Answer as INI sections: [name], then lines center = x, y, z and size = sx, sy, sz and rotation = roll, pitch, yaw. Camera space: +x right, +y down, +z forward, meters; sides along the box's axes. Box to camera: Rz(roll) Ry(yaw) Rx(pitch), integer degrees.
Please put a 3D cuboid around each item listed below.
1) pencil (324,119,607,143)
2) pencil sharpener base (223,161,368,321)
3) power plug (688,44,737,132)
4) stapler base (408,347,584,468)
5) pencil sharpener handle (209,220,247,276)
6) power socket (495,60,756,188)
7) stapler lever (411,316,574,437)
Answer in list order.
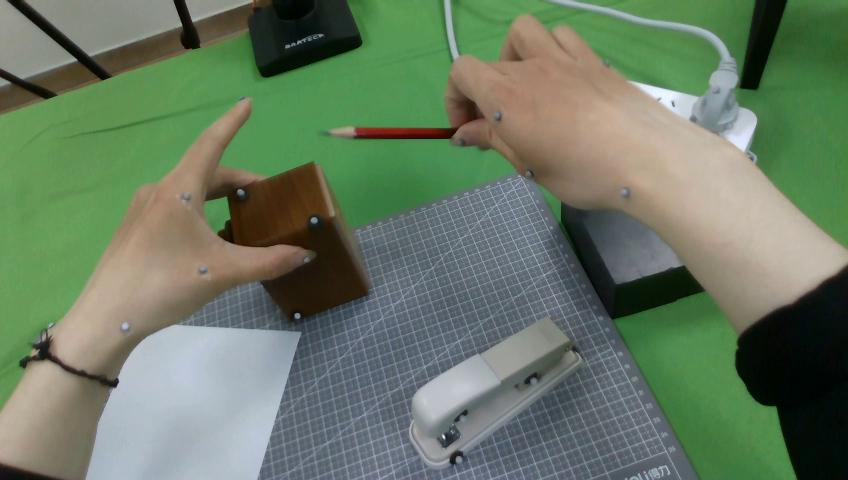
[pencil]
center = 0.033, -0.068, 0.384
size = 0.195, 0.012, 0.012
rotation = -6, 51, -20
[pencil sharpener base]
center = -0.095, 0.005, 0.459
size = 0.077, 0.108, 0.060
rotation = -21, 54, -3
[power plug]
center = 0.245, -0.116, 0.494
size = 0.035, 0.053, 0.072
rotation = 32, 68, 29
[stapler base]
center = 0.048, 0.102, 0.413
size = 0.130, 0.025, 0.041
rotation = -32, 56, -13
[pencil sharpener handle]
center = -0.147, 0.012, 0.448
size = 0.030, 0.068, 0.036
rotation = -21, 74, -3
[power socket]
center = 0.172, -0.106, 0.532
size = 0.225, 0.033, 0.072
rotation = 22, 62, 25
[stapler lever]
center = 0.044, 0.086, 0.394
size = 0.118, 0.040, 0.026
rotation = -32, 56, -13
